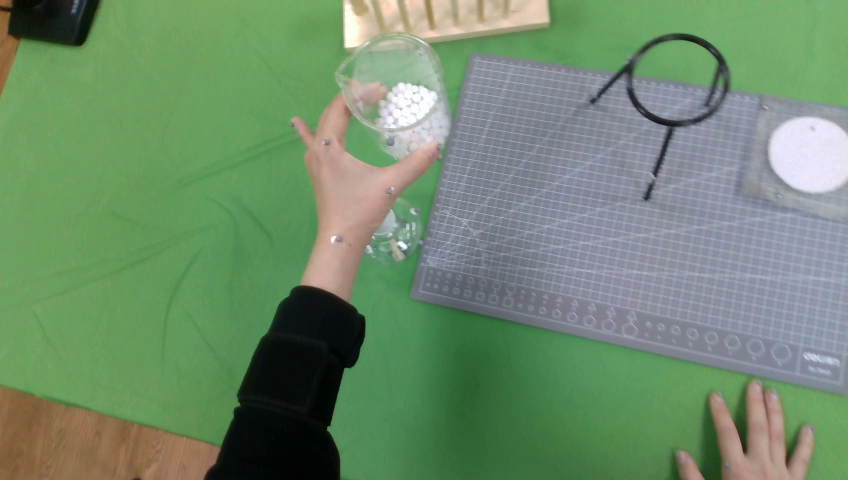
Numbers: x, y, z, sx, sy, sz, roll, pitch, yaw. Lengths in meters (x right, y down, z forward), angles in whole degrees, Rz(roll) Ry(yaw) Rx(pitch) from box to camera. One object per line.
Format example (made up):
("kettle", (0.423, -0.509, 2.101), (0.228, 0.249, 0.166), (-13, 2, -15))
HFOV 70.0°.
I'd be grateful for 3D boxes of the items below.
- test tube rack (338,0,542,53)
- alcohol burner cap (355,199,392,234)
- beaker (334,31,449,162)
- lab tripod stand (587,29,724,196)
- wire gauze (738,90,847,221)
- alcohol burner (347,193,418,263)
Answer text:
("test tube rack", (0.012, -0.281, 0.693), (0.242, 0.085, 0.066), (-5, 78, 7))
("alcohol burner cap", (-0.053, -0.025, 0.601), (0.034, 0.048, 0.033), (-1, 82, 8))
("beaker", (-0.021, -0.107, 0.479), (0.084, 0.100, 0.074), (12, 84, 8))
("lab tripod stand", (0.233, -0.131, 0.604), (0.148, 0.132, 0.148), (-1, 80, 7))
("wire gauze", (0.402, -0.091, 0.635), (0.125, 0.011, 0.121), (16, 81, 9))
("alcohol burner", (-0.047, -0.017, 0.636), (0.078, 0.120, 0.077), (-2, 76, 7))
